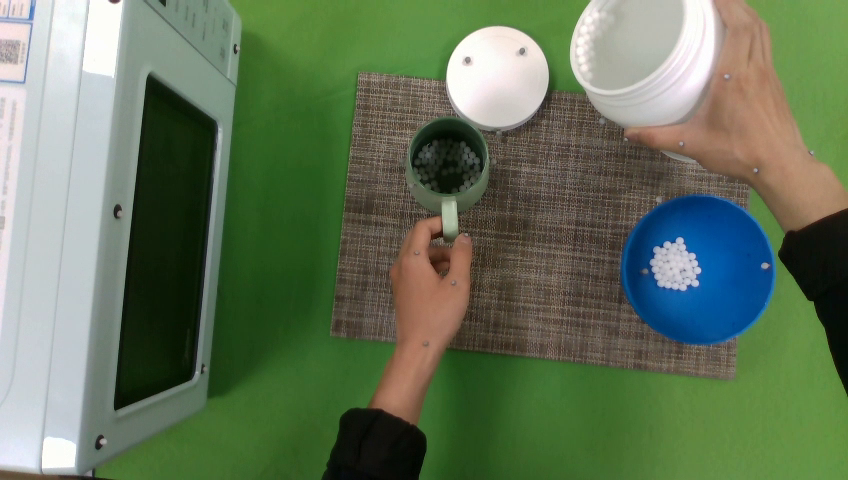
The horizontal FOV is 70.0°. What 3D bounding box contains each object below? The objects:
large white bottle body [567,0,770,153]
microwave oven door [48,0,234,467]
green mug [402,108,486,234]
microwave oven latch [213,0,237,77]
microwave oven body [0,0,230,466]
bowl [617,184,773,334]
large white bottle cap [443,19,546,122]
[{"bbox_3d":[0.229,-0.166,0.568,0.130,0.186,0.130,-12,73,43],"label":"large white bottle body"},{"bbox_3d":[-0.243,-0.007,0.551,0.039,0.244,0.355,4,88,2],"label":"microwave oven door"},{"bbox_3d":[0.022,-0.068,0.630,0.092,0.105,0.125,-3,88,0],"label":"green mug"},{"bbox_3d":[-0.221,-0.220,0.659,0.030,0.029,0.079,5,89,1],"label":"microwave oven latch"},{"bbox_3d":[-0.386,-0.060,0.560,0.326,0.260,0.441,4,89,1],"label":"microwave oven body"},{"bbox_3d":[0.271,0.020,0.637,0.151,0.077,0.151,0,88,2],"label":"bowl"},{"bbox_3d":[0.078,-0.189,0.675,0.115,0.018,0.114,0,84,1],"label":"large white bottle cap"}]
